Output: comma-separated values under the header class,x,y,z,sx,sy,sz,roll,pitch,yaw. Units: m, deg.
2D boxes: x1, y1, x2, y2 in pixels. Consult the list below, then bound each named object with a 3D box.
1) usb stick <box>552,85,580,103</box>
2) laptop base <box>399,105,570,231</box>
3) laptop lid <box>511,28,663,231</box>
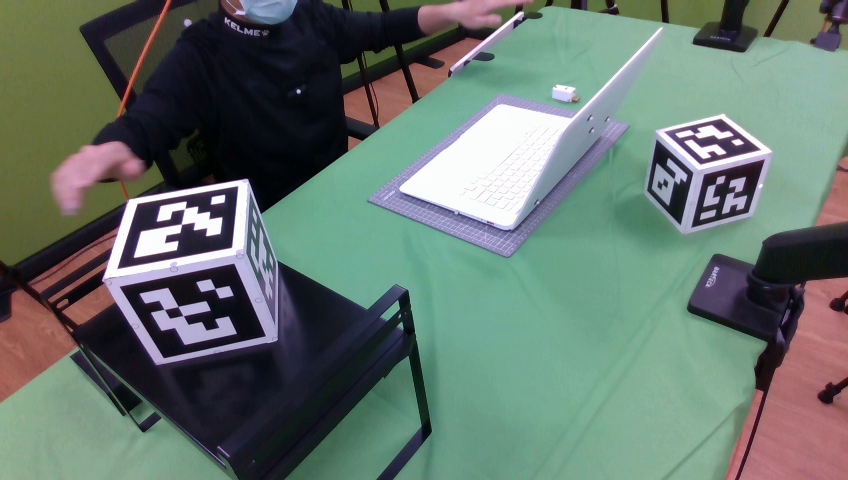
class,x,y,z,sx,sy,sz,roll,pitch,yaw
usb stick,0.303,-0.308,1.282,0.059,0.027,0.021,25,46,29
laptop base,0.149,-0.147,1.123,0.233,0.023,0.355,20,47,32
laptop lid,0.265,-0.179,0.972,0.013,0.242,0.357,36,53,14
